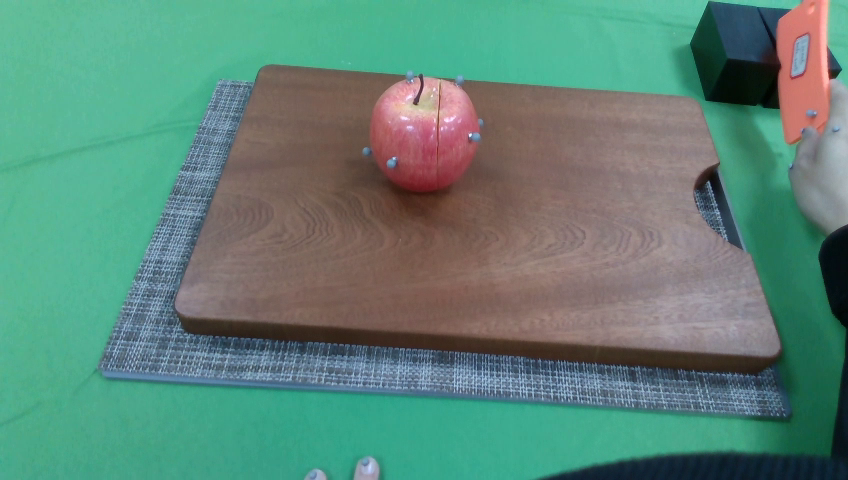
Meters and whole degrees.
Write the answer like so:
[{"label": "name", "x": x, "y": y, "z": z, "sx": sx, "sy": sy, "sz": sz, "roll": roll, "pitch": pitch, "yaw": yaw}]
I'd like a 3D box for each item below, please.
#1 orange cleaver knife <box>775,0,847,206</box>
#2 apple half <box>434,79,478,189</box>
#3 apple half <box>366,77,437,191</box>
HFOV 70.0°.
[{"label": "orange cleaver knife", "x": 0.329, "y": -0.119, "z": 0.522, "sx": 0.012, "sy": 0.077, "sz": 0.210, "roll": 5, "pitch": 70, "yaw": 0}, {"label": "apple half", "x": 0.023, "y": -0.077, "z": 0.451, "sx": 0.033, "sy": 0.082, "sz": 0.080, "roll": 1, "pitch": 52, "yaw": 2}, {"label": "apple half", "x": -0.016, "y": -0.078, "z": 0.451, "sx": 0.053, "sy": 0.075, "sz": 0.080, "roll": 1, "pitch": 56, "yaw": 2}]
